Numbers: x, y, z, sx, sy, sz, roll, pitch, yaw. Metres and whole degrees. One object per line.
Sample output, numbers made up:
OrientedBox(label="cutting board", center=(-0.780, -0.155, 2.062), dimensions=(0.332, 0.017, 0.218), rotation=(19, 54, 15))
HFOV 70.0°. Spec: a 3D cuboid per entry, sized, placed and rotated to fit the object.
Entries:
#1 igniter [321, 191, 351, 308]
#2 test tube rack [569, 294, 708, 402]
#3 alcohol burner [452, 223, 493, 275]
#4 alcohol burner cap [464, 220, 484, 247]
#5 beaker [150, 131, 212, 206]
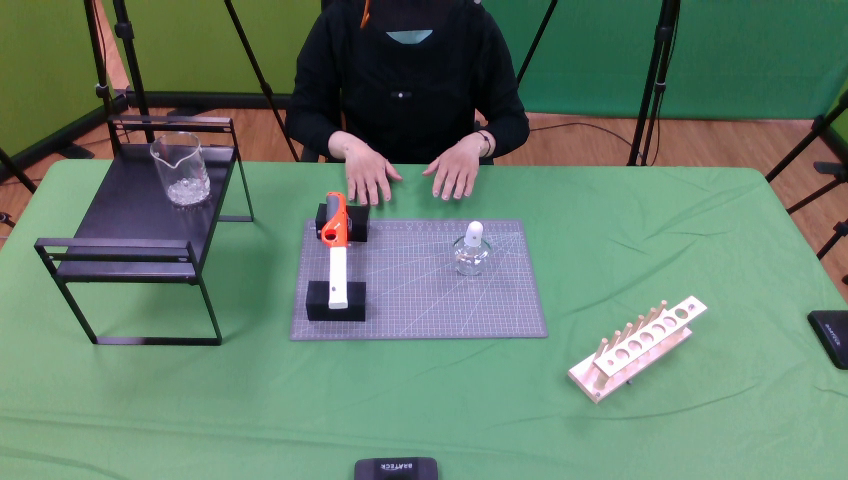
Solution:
OrientedBox(label="igniter", center=(-0.159, 0.008, 1.101), dimensions=(0.057, 0.025, 0.274), rotation=(-2, 48, -7))
OrientedBox(label="test tube rack", center=(0.360, 0.167, 1.014), dimensions=(0.242, 0.085, 0.066), rotation=(-25, 53, -25))
OrientedBox(label="alcohol burner", center=(0.091, 0.008, 1.124), dimensions=(0.078, 0.119, 0.077), rotation=(2, 48, -2))
OrientedBox(label="alcohol burner cap", center=(0.092, -0.015, 1.098), dimensions=(0.034, 0.048, 0.033), rotation=(5, 44, -4))
OrientedBox(label="beaker", center=(-0.385, -0.110, 0.969), dimensions=(0.074, 0.101, 0.083), rotation=(-6, 48, -9))
